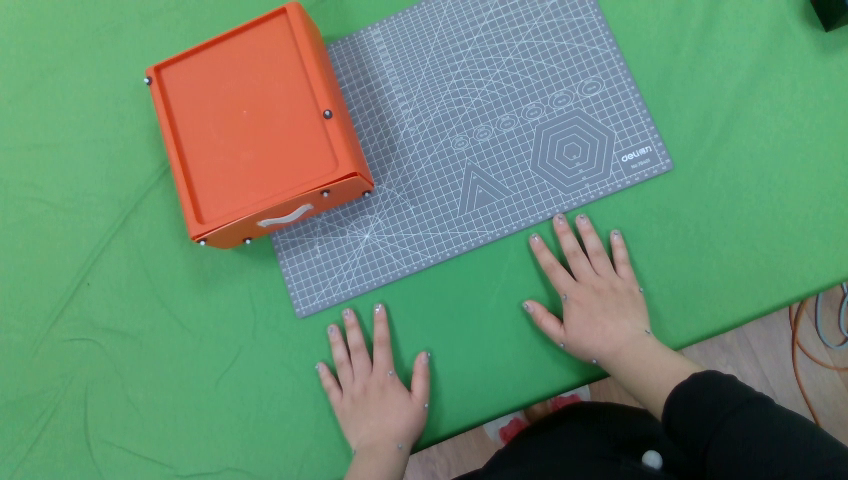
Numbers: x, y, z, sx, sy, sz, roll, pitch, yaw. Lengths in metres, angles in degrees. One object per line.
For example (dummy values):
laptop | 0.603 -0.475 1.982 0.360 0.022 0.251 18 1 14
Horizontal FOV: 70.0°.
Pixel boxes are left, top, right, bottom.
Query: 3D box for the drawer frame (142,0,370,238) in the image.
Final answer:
drawer frame | -0.191 -0.128 0.691 0.201 0.083 0.212 -22 79 8

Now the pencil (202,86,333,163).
pencil | -0.186 -0.136 0.714 0.193 0.012 0.012 30 89 12

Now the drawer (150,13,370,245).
drawer | -0.188 -0.124 0.691 0.194 0.073 0.210 -21 79 8
